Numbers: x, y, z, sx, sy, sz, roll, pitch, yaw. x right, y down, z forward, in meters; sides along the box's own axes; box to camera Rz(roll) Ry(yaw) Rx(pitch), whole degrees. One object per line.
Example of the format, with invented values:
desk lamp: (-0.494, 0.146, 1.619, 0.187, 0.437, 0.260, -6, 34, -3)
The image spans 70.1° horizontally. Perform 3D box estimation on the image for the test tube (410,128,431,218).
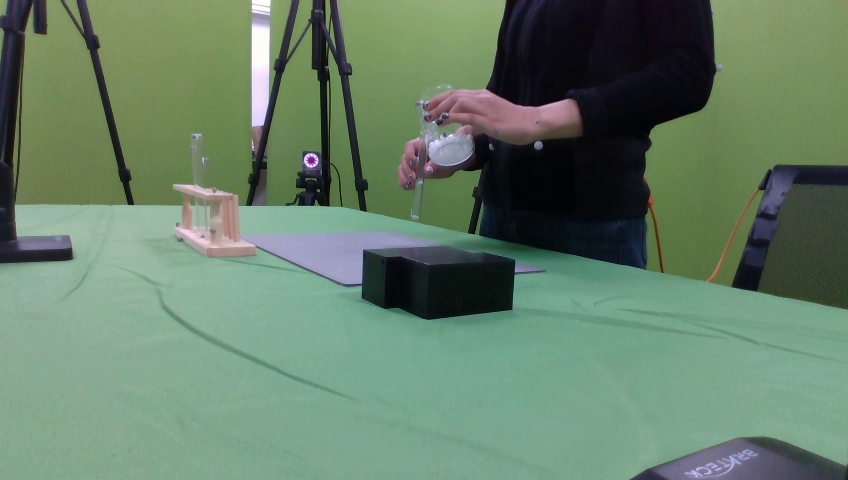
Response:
test tube: (-0.007, -0.106, 0.976, 0.017, 0.150, 0.017, 7, 23, -3)

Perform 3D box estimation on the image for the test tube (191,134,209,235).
test tube: (-0.332, -0.082, 0.897, 0.017, 0.150, 0.017, -2, 6, 0)

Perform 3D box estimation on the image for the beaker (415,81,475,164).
beaker: (0.031, -0.168, 0.890, 0.074, 0.100, 0.084, 0, -28, -24)

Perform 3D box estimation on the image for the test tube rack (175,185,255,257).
test tube rack: (-0.324, -0.035, 0.922, 0.067, 0.085, 0.241, -2, 9, -31)
